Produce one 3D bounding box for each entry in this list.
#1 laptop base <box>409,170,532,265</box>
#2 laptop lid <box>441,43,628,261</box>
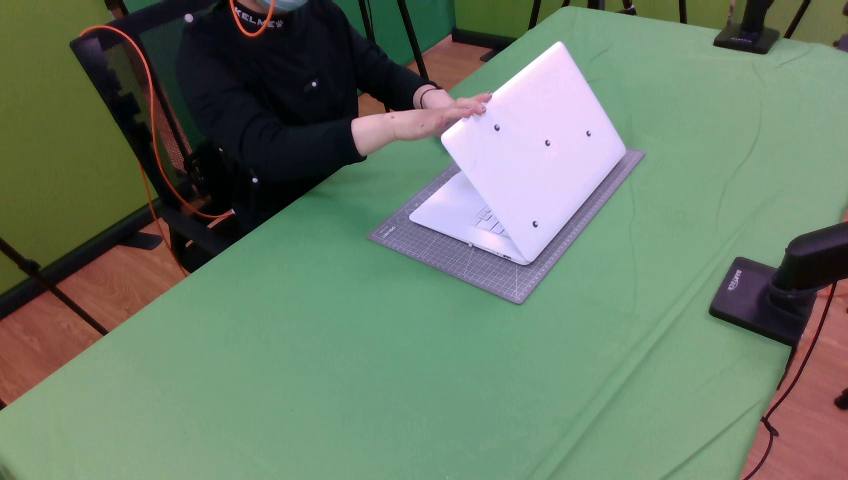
[{"bbox_3d":[0.168,-0.095,1.057,0.233,0.023,0.355,20,47,32],"label":"laptop base"},{"bbox_3d":[0.195,-0.155,0.969,0.358,0.242,0.013,-42,11,-35],"label":"laptop lid"}]
